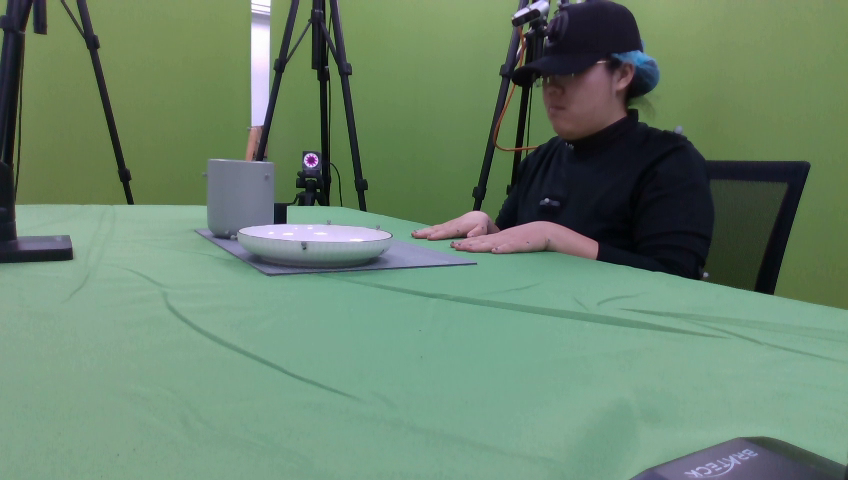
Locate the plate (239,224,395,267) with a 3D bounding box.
[{"bbox_3d":[-0.144,0.007,0.823,0.208,0.039,0.207,3,7,0],"label":"plate"}]

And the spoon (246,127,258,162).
[{"bbox_3d":[-0.299,-0.115,1.032,0.041,0.193,0.022,-5,-24,11],"label":"spoon"}]

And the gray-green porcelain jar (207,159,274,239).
[{"bbox_3d":[-0.304,-0.068,1.004,0.106,0.126,0.106,3,7,0],"label":"gray-green porcelain jar"}]
